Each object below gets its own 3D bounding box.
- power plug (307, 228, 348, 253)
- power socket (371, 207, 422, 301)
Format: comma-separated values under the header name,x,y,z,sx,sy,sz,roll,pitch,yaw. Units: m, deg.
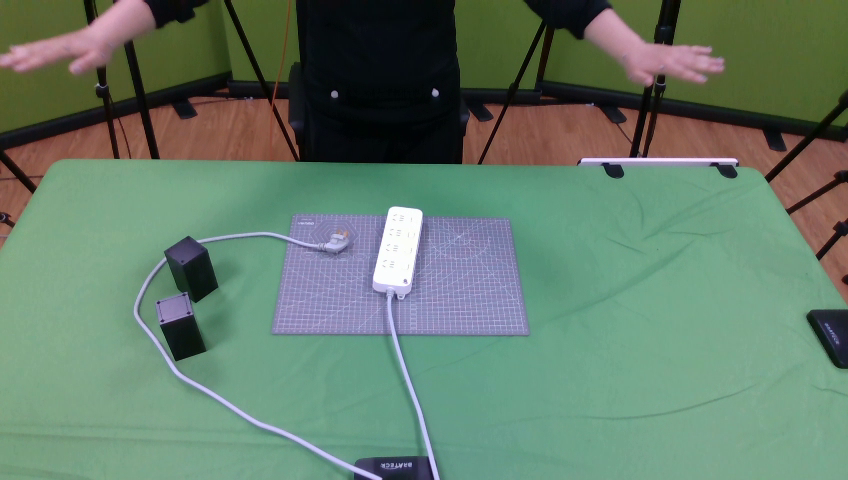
name,x,y,z,sx,sy,sz,roll,pitch,yaw
power plug,-0.183,-0.003,1.168,0.072,0.035,0.052,17,63,-3
power socket,-0.051,0.018,1.165,0.072,0.033,0.225,6,46,3
